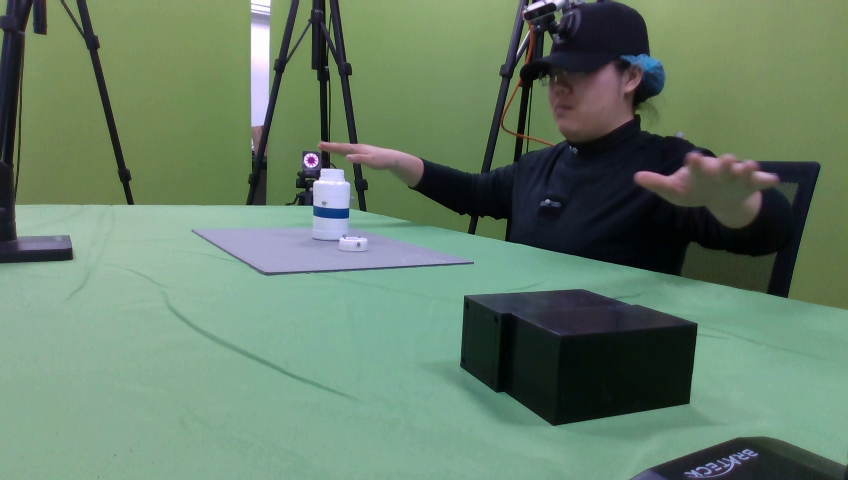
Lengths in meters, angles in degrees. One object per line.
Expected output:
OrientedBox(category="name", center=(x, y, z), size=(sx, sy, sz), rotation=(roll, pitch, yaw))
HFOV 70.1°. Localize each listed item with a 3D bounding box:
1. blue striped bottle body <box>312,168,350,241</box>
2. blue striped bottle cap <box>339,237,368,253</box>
OrientedBox(category="blue striped bottle body", center=(-0.157, -0.062, 1.025), size=(0.063, 0.120, 0.063), rotation=(3, 7, 0))
OrientedBox(category="blue striped bottle cap", center=(-0.107, 0.007, 0.920), size=(0.044, 0.020, 0.044), rotation=(1, 7, 0))
